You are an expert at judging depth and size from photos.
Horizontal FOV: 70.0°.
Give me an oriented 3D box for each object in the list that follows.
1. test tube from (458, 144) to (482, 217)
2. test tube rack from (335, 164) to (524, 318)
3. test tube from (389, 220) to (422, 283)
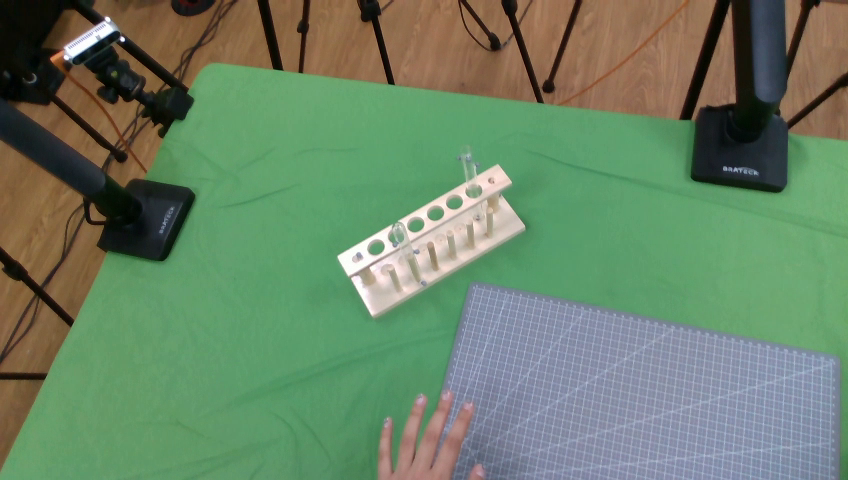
[{"bbox_3d":[0.060,-0.072,0.773,0.017,0.151,0.017,-5,61,9],"label":"test tube"},{"bbox_3d":[0.013,0.002,0.801,0.242,0.086,0.066,-30,64,-6],"label":"test tube rack"},{"bbox_3d":[-0.021,0.017,0.749,0.017,0.152,0.017,-4,61,8],"label":"test tube"}]
